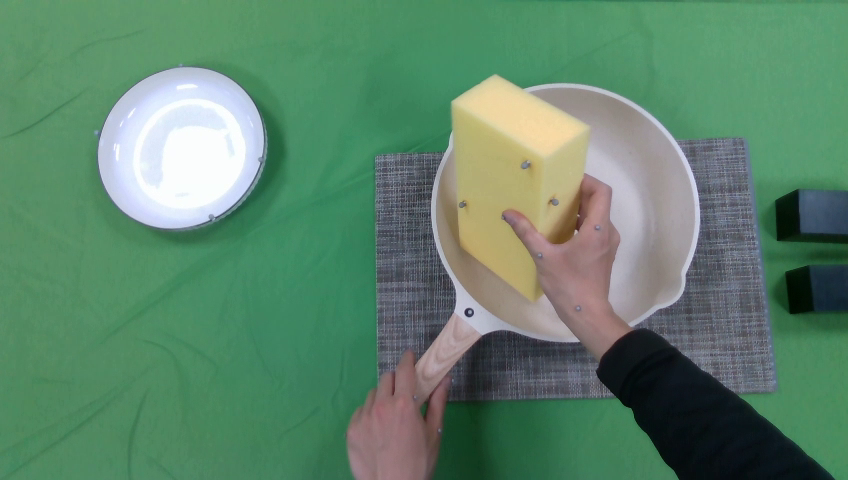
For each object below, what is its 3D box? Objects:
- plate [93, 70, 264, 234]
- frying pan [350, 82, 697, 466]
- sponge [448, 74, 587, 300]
[{"bbox_3d":[-0.298,-0.106,0.749,0.207,0.039,0.207,0,80,2],"label":"plate"},{"bbox_3d":[0.085,0.043,0.667,0.305,0.103,0.487,40,76,10],"label":"frying pan"},{"bbox_3d":[0.091,-0.047,0.620,0.061,0.209,0.117,-37,54,-24],"label":"sponge"}]
